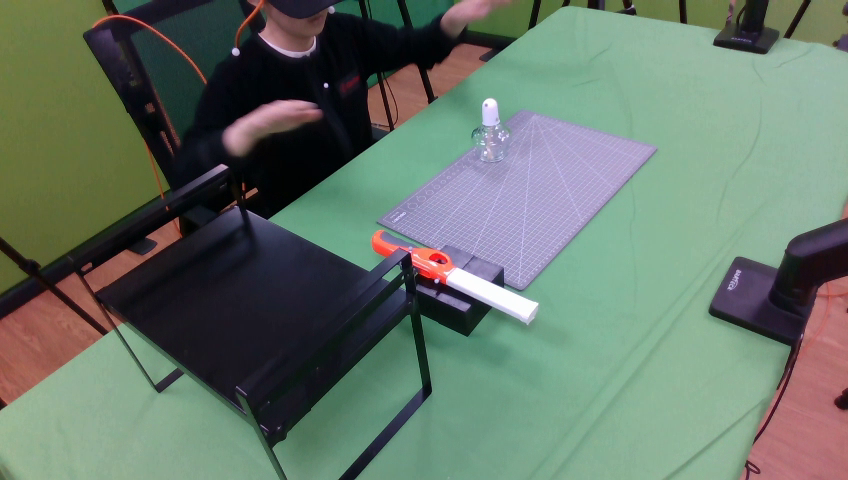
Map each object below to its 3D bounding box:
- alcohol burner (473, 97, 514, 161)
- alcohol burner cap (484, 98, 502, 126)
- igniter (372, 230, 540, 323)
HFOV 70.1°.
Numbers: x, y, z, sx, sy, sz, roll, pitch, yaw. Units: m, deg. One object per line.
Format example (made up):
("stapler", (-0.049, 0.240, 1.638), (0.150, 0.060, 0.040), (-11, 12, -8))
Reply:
("alcohol burner", (0.128, -0.208, 1.124), (0.078, 0.119, 0.077), (-5, 39, 5))
("alcohol burner cap", (0.124, -0.235, 1.100), (0.034, 0.048, 0.033), (-6, 37, 5))
("igniter", (0.032, 0.045, 0.842), (0.274, 0.025, 0.057), (24, 47, 29))
